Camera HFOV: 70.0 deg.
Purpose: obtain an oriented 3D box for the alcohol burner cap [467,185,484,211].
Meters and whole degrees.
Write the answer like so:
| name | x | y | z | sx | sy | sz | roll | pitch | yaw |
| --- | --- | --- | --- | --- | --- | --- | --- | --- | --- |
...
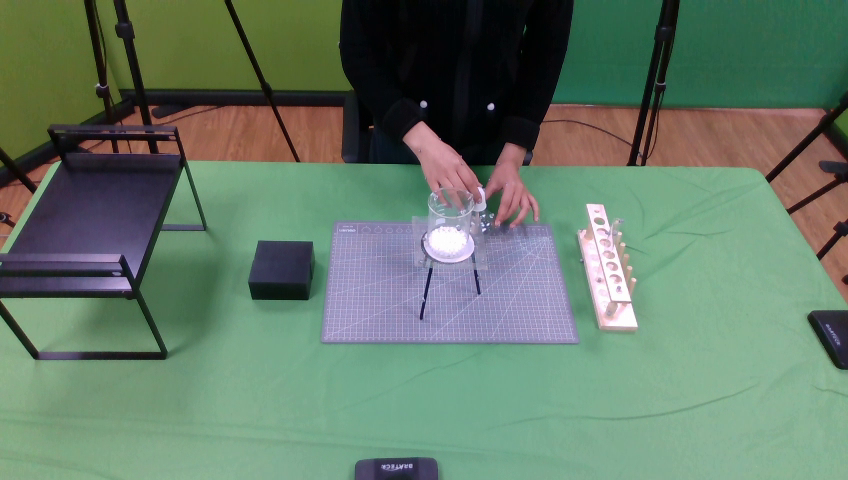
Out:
| name | x | y | z | sx | sy | sz | roll | pitch | yaw |
| --- | --- | --- | --- | --- | --- | --- | --- | --- | --- |
| alcohol burner cap | 0.100 | -0.083 | 1.155 | 0.034 | 0.048 | 0.033 | 1 | 43 | 0 |

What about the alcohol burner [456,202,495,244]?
| name | x | y | z | sx | sy | sz | roll | pitch | yaw |
| --- | --- | --- | --- | --- | --- | --- | --- | --- | --- |
| alcohol burner | 0.102 | -0.050 | 1.187 | 0.078 | 0.120 | 0.077 | 1 | 46 | 0 |

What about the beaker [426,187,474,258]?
| name | x | y | z | sx | sy | sz | roll | pitch | yaw |
| --- | --- | --- | --- | --- | --- | --- | --- | --- | --- |
| beaker | 0.043 | -0.027 | 0.989 | 0.084 | 0.101 | 0.073 | -27 | 53 | -25 |

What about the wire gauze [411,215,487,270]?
| name | x | y | z | sx | sy | sz | roll | pitch | yaw |
| --- | --- | --- | --- | --- | --- | --- | --- | --- | --- |
| wire gauze | 0.041 | 0.003 | 1.026 | 0.125 | 0.011 | 0.120 | 0 | 46 | -1 |

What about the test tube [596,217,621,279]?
| name | x | y | z | sx | sy | sz | roll | pitch | yaw |
| --- | --- | --- | --- | --- | --- | --- | --- | --- | --- |
| test tube | 0.331 | 0.018 | 1.094 | 0.017 | 0.151 | 0.017 | 0 | 45 | 0 |

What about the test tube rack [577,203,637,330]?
| name | x | y | z | sx | sy | sz | roll | pitch | yaw |
| --- | --- | --- | --- | --- | --- | --- | --- | --- | --- |
| test tube rack | 0.348 | 0.045 | 1.139 | 0.067 | 0.085 | 0.241 | 2 | 46 | -2 |

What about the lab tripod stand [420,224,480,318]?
| name | x | y | z | sx | sy | sz | roll | pitch | yaw |
| --- | --- | --- | --- | --- | --- | --- | --- | --- | --- |
| lab tripod stand | 0.034 | 0.051 | 1.071 | 0.148 | 0.132 | 0.147 | 3 | 48 | -3 |
